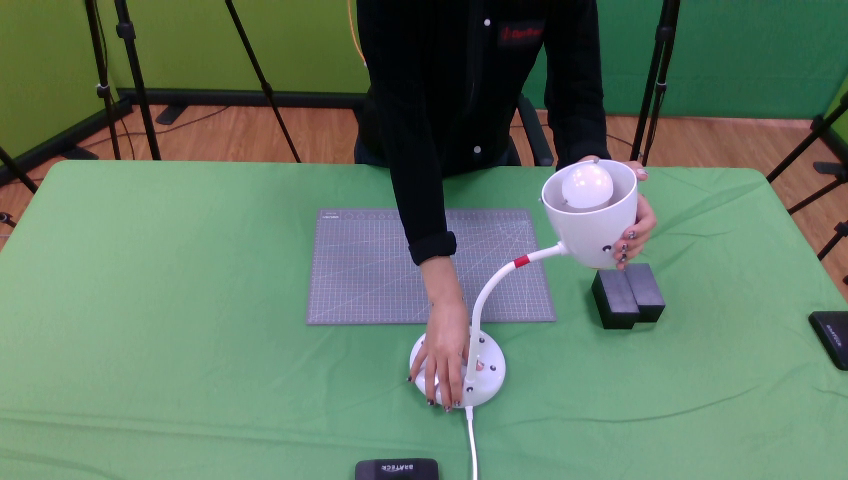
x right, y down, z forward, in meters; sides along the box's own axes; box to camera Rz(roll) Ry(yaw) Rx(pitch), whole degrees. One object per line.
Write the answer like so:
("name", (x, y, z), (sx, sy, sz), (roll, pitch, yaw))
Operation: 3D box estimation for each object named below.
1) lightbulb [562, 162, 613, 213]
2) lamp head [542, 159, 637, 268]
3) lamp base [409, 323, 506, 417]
("lightbulb", (0.207, -0.046, 0.748), (0.059, 0.108, 0.059), (-16, 33, 11))
("lamp head", (0.209, -0.022, 0.758), (0.112, 0.123, 0.112), (-10, 37, 8))
("lamp base", (0.063, 0.160, 0.941), (0.161, 0.181, 0.178), (-10, 50, -13))
